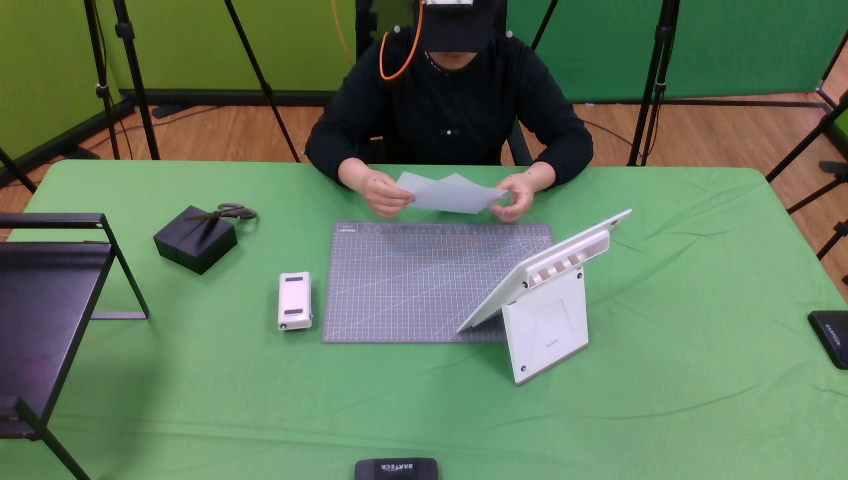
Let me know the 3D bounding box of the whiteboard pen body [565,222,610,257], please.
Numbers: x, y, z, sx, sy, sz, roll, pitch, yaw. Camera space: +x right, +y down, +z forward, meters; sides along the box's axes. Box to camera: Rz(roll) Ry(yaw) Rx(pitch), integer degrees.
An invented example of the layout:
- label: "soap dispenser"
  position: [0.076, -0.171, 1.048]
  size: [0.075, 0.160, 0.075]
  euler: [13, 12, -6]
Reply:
- label: "whiteboard pen body"
  position: [0.335, -0.004, 1.228]
  size: [0.141, 0.017, 0.017]
  euler: [-32, 56, -29]

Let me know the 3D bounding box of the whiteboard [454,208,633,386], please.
- label: "whiteboard"
  position: [0.211, 0.111, 0.954]
  size: [0.217, 0.306, 0.143]
  euler: [-22, 72, -24]

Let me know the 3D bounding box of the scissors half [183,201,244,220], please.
- label: "scissors half"
  position: [-0.405, -0.054, 1.163]
  size: [0.040, 0.013, 0.175]
  euler: [28, 18, 8]

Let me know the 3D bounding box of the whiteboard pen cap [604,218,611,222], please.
- label: "whiteboard pen cap"
  position: [0.378, -0.031, 1.255]
  size: [0.033, 0.018, 0.018]
  euler: [-33, 57, -29]

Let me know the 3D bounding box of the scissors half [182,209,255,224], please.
- label: "scissors half"
  position: [-0.389, -0.043, 1.158]
  size: [0.040, 0.013, 0.175]
  euler: [39, 21, 23]

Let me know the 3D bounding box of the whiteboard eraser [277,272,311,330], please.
- label: "whiteboard eraser"
  position: [-0.228, 0.108, 1.062]
  size: [0.056, 0.042, 0.112]
  euler: [-3, 46, -10]
